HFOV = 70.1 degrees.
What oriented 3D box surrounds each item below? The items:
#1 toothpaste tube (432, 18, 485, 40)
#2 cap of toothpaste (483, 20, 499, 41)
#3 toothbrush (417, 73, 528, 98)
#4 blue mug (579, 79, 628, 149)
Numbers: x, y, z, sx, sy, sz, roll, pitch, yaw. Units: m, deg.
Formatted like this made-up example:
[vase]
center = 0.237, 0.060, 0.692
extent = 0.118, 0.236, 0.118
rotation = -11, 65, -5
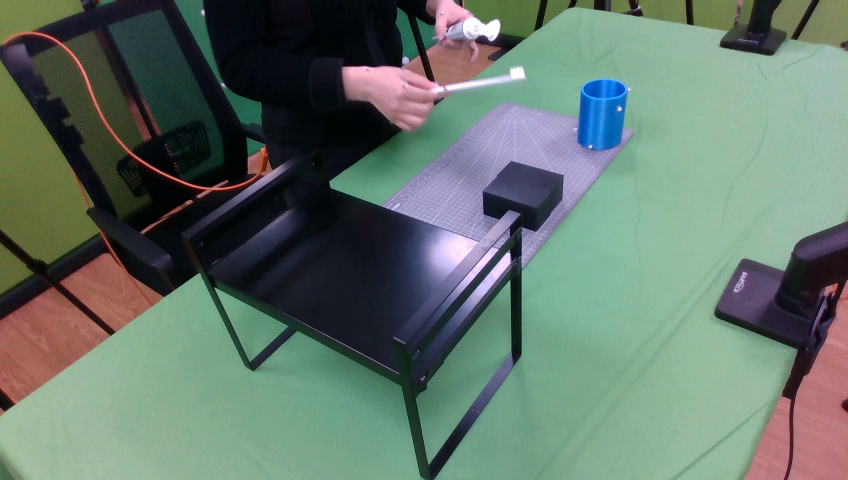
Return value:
[toothpaste tube]
center = 0.068, -0.381, 1.104
extent = 0.055, 0.034, 0.164
rotation = -13, 17, -18
[cap of toothpaste]
center = 0.114, -0.358, 1.030
extent = 0.011, 0.037, 0.037
rotation = 9, 32, -30
[toothbrush]
center = 0.076, -0.247, 0.972
extent = 0.181, 0.016, 0.014
rotation = -5, 11, 15
[blue mug]
center = 0.336, -0.246, 1.143
extent = 0.082, 0.106, 0.116
rotation = 0, 41, 10
